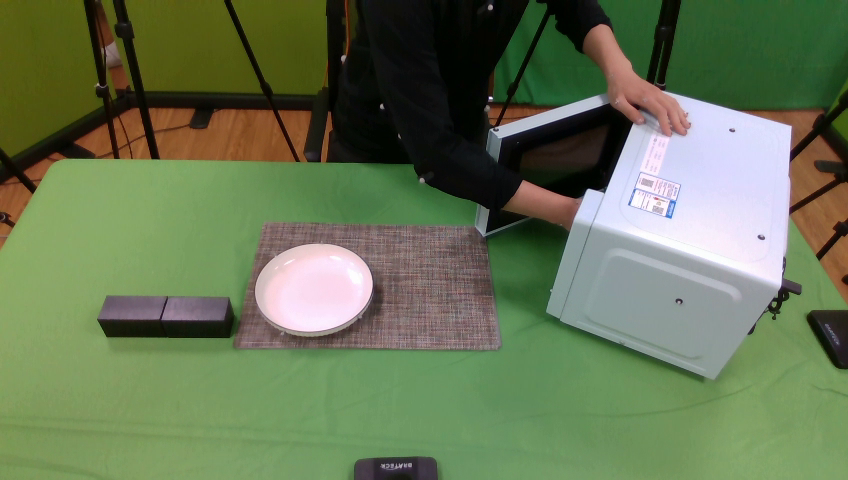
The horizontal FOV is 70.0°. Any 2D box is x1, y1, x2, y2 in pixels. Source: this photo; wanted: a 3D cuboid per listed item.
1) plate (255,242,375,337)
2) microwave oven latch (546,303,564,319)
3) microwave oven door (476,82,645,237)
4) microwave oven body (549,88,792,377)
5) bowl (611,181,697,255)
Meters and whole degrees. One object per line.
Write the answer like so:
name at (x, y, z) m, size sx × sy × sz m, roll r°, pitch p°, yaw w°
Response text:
plate at (-0.192, 0.090, 1.079) m, size 0.208 × 0.039 × 0.206 m, roll 2°, pitch 46°, yaw -2°
microwave oven latch at (0.242, 0.102, 1.081) m, size 0.030 × 0.029 × 0.079 m, roll 22°, pitch 48°, yaw 17°
microwave oven door at (0.269, -0.159, 1.193) m, size 0.356 × 0.245 × 0.039 m, roll -21°, pitch 50°, yaw -22°
microwave oven body at (0.456, -0.028, 1.088) m, size 0.325 × 0.261 × 0.440 m, roll 20°, pitch 47°, yaw 16°
bowl at (0.417, -0.026, 1.123) m, size 0.151 × 0.077 × 0.150 m, roll -2°, pitch 56°, yaw 3°
